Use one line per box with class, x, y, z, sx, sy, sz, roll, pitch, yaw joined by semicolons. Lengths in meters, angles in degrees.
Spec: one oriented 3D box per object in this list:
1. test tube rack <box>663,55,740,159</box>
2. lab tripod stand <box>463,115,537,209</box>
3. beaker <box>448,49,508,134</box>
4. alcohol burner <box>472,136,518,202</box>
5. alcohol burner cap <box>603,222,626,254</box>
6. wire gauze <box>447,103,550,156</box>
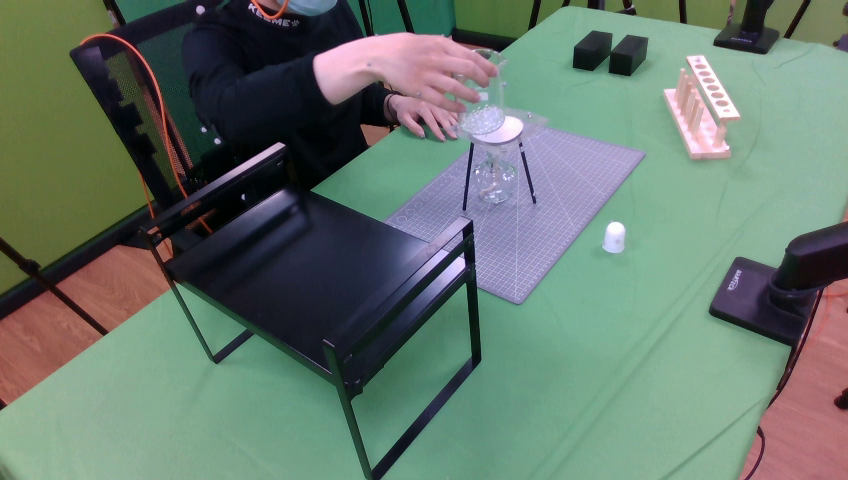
test tube rack;0.518;-0.256;1.144;0.066;0.085;0.241;-1;41;8
lab tripod stand;0.120;-0.134;1.018;0.148;0.132;0.147;-5;39;5
beaker;0.082;-0.209;0.858;0.084;0.101;0.073;-11;42;2
alcohol burner;0.121;-0.124;1.023;0.078;0.119;0.077;-3;41;3
alcohol burner cap;0.291;-0.006;0.921;0.034;0.048;0.033;-4;39;4
wire gauze;0.119;-0.184;0.973;0.122;0.011;0.124;-34;45;-28
